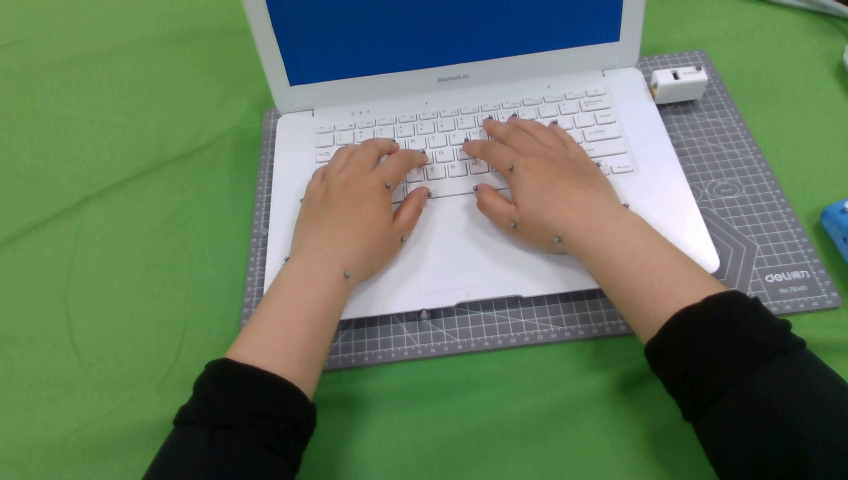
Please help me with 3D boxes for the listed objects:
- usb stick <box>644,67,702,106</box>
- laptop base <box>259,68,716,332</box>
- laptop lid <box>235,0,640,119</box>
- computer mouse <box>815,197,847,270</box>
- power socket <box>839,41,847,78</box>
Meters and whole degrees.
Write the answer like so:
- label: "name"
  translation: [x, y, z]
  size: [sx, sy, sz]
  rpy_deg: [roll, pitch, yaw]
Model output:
- label: "usb stick"
  translation: [0.221, -0.140, 0.558]
  size: [0.059, 0.027, 0.021]
  rpy_deg: [-8, 54, 5]
- label: "laptop base"
  translation: [0.038, -0.044, 0.527]
  size: [0.354, 0.023, 0.233]
  rpy_deg: [-8, 58, 2]
- label: "laptop lid"
  translation: [0.013, -0.226, 0.517]
  size: [0.357, 0.244, 0.013]
  rpy_deg: [-9, 41, 3]
- label: "computer mouse"
  translation: [0.344, 0.009, 0.441]
  size: [0.063, 0.041, 0.116]
  rpy_deg: [-11, 50, 2]
- label: "power socket"
  translation: [0.431, -0.106, 0.514]
  size: [0.072, 0.033, 0.224]
  rpy_deg: [-4, 54, 4]
